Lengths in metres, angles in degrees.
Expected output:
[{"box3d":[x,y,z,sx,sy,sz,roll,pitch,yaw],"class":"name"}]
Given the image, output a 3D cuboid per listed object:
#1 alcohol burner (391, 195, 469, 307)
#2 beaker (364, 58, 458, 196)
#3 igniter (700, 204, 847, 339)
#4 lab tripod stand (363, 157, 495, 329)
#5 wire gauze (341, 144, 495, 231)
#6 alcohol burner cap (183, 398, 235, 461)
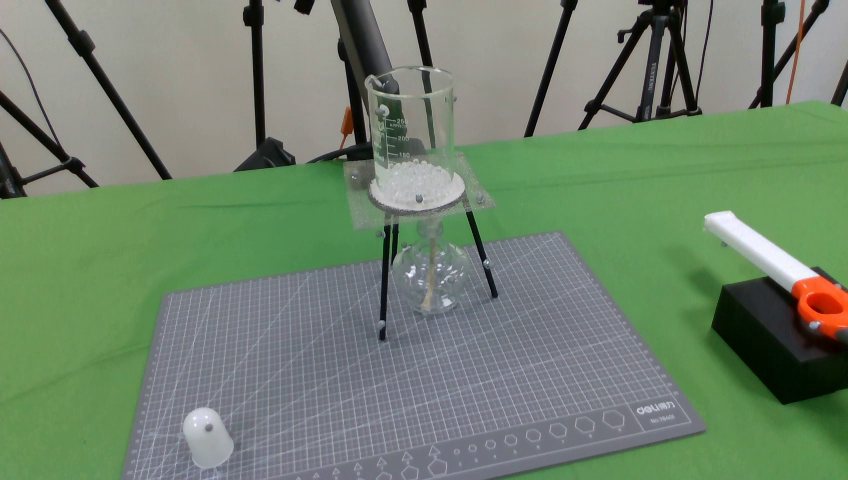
[{"box3d":[0.005,0.006,0.588,0.078,0.120,0.077,-1,37,1],"class":"alcohol burner"},{"box3d":[-0.012,-0.095,0.517,0.083,0.101,0.074,28,44,36],"class":"beaker"},{"box3d":[0.330,0.039,0.517,0.057,0.025,0.273,-10,32,-9],"class":"igniter"},{"box3d":[-0.003,-0.003,0.585,0.148,0.132,0.147,-1,34,1],"class":"lab tripod stand"},{"box3d":[-0.010,-0.055,0.544,0.121,0.011,0.123,-9,37,-8],"class":"wire gauze"},{"box3d":[-0.167,0.143,0.468,0.034,0.048,0.033,-2,36,1],"class":"alcohol burner cap"}]
